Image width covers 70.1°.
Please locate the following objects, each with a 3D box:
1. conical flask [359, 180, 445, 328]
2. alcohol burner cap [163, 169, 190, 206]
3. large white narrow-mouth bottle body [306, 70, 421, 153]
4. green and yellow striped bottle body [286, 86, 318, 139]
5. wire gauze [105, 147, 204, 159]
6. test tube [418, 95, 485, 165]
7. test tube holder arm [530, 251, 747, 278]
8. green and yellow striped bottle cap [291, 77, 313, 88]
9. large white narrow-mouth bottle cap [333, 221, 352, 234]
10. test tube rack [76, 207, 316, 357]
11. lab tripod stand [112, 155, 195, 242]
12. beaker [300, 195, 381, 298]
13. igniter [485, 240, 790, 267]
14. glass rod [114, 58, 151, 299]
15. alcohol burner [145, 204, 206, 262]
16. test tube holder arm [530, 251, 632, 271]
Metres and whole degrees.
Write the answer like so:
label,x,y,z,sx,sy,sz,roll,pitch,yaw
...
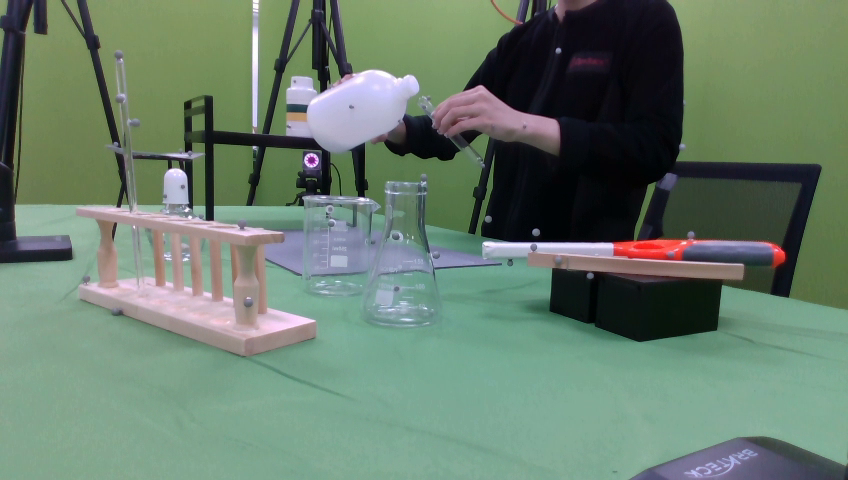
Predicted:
label,x,y,z,sx,sy,sz,roll,pitch,yaw
conical flask,-0.017,0.010,0.522,0.075,0.122,0.075,2,7,0
alcohol burner cap,-0.320,-0.068,0.782,0.034,0.048,0.034,1,7,0
large white narrow-mouth bottle body,-0.091,-0.216,0.976,0.194,0.101,0.102,-16,-4,32
green and yellow striped bottle body,-0.251,-0.270,1.245,0.063,0.119,0.063,2,7,0
wire gauze,-0.408,-0.131,0.929,0.125,0.011,0.121,2,6,-11
test tube,0.038,-0.160,0.877,0.017,0.017,0.149,-7,50,-50
test tube holder arm,0.182,0.022,0.523,0.178,0.015,0.013,3,7,12
green and yellow striped bottle cap,-0.250,-0.321,1.238,0.045,0.020,0.045,3,6,0
large white narrow-mouth bottle cap,-0.152,-0.024,1.134,0.038,0.024,0.037,4,7,0
test tube rack,-0.196,0.023,0.500,0.241,0.085,0.067,8,9,36
lab tripod stand,-0.405,-0.064,0.931,0.148,0.131,0.148,1,7,0
beaker,-0.087,0.006,0.626,0.084,0.100,0.074,1,8,-17
igniter,0.197,0.012,0.585,0.276,0.025,0.057,1,5,12
glass rod,-0.236,-0.044,0.492,0.008,0.199,0.008,0,15,0
alcohol burner,-0.321,-0.032,0.788,0.078,0.119,0.078,0,7,0
test tube holder arm,0.139,0.019,0.538,0.087,0.015,0.010,3,7,13
